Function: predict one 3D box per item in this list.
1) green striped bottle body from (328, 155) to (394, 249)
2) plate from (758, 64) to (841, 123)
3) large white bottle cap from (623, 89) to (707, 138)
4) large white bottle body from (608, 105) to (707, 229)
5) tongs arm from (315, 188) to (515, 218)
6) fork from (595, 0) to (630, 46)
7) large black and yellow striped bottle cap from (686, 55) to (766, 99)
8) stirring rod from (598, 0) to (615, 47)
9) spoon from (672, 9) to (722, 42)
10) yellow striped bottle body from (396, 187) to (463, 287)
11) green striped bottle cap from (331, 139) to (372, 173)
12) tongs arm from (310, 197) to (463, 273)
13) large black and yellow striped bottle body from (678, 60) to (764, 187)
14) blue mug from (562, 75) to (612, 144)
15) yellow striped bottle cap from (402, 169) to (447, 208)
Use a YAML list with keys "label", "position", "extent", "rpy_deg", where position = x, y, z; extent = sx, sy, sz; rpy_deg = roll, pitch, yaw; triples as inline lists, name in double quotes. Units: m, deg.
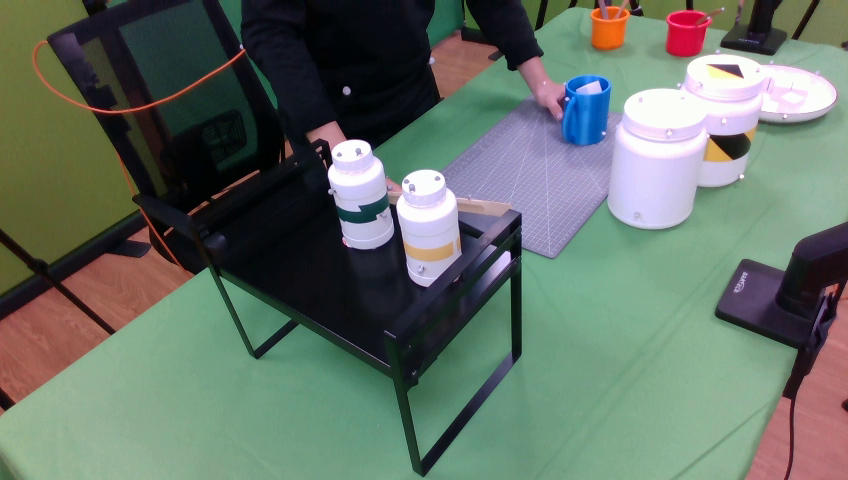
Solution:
- label: "green striped bottle body"
  position: [-0.073, -0.053, 0.699]
  extent: [0.063, 0.120, 0.063]
  rpy_deg: [-5, 41, 4]
- label: "plate"
  position: [0.694, -0.283, 1.189]
  extent: [0.207, 0.039, 0.206]
  rpy_deg: [-4, 40, 4]
- label: "large white bottle cap"
  position: [0.352, -0.187, 0.886]
  extent: [0.115, 0.018, 0.114]
  rpy_deg: [-4, 41, 4]
- label: "large white bottle body"
  position: [0.361, -0.124, 0.941]
  extent: [0.130, 0.185, 0.130]
  rpy_deg: [-5, 41, 4]
- label: "tongs arm"
  position: [-0.031, -0.057, 0.985]
  extent: [0.381, 0.027, 0.051]
  rpy_deg: [11, 45, 38]
- label: "fork"
  position: [0.480, -0.556, 1.453]
  extent: [0.028, 0.019, 0.207]
  rpy_deg: [41, 103, 40]
- label: "large black and yellow striped bottle cap"
  position: [0.474, -0.258, 0.952]
  extent: [0.115, 0.019, 0.114]
  rpy_deg: [-5, 41, 5]
- label: "stirring rod"
  position: [0.437, -0.551, 1.462]
  extent: [0.014, 0.006, 0.175]
  rpy_deg: [-11, 83, 2]
- label: "spoon"
  position: [0.606, -0.476, 1.345]
  extent: [0.042, 0.021, 0.193]
  rpy_deg: [-6, -3, -2]
- label: "yellow striped bottle body"
  position: [0.006, -0.013, 0.638]
  extent: [0.063, 0.121, 0.062]
  rpy_deg: [-5, 41, 4]
- label: "green striped bottle cap"
  position: [-0.080, -0.093, 0.666]
  extent: [0.044, 0.020, 0.044]
  rpy_deg: [-3, 42, 3]
- label: "tongs arm"
  position: [-0.076, -0.014, 0.946]
  extent: [0.028, 0.028, 0.384]
  rpy_deg: [-43, 40, -23]
- label: "large black and yellow striped bottle body"
  position: [0.482, -0.196, 1.008]
  extent: [0.131, 0.185, 0.130]
  rpy_deg: [-4, 41, 4]
- label: "blue mug"
  position: [0.298, -0.239, 1.143]
  extent: [0.117, 0.106, 0.081]
  rpy_deg: [-37, 49, -29]
- label: "yellow striped bottle cap"
  position: [0.000, -0.052, 0.605]
  extent: [0.044, 0.019, 0.044]
  rpy_deg: [-5, 42, 5]
